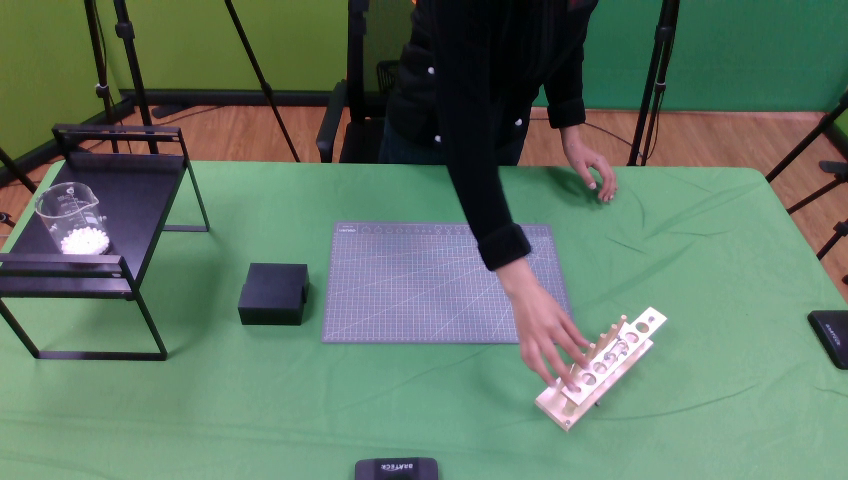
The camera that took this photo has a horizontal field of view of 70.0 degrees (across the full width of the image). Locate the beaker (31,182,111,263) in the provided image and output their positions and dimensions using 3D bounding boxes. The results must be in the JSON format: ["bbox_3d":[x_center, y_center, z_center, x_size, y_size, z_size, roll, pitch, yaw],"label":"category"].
[{"bbox_3d":[-0.502,-0.022,0.877,0.084,0.101,0.073,-2,47,-6],"label":"beaker"}]

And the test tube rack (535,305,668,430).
[{"bbox_3d":[0.290,0.193,0.984,0.242,0.085,0.066,-32,57,-30],"label":"test tube rack"}]

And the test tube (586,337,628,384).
[{"bbox_3d":[0.273,0.191,0.916,0.017,0.151,0.017,5,51,-5],"label":"test tube"}]
